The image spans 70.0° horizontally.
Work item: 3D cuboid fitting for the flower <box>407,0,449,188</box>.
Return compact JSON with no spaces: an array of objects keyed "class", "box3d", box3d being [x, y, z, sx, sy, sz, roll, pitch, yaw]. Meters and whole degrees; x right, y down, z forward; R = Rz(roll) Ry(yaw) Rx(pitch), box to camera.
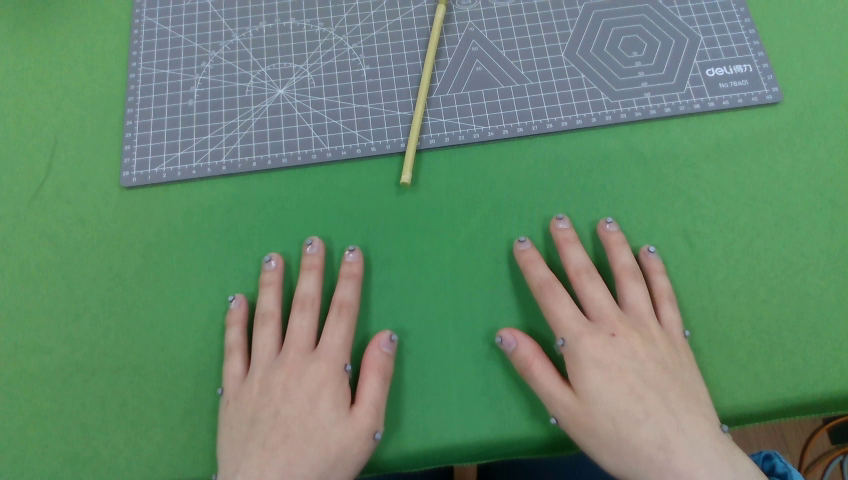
[{"class":"flower","box3d":[0.018,-0.207,0.452,0.044,0.038,0.360,18,73,-30]}]
